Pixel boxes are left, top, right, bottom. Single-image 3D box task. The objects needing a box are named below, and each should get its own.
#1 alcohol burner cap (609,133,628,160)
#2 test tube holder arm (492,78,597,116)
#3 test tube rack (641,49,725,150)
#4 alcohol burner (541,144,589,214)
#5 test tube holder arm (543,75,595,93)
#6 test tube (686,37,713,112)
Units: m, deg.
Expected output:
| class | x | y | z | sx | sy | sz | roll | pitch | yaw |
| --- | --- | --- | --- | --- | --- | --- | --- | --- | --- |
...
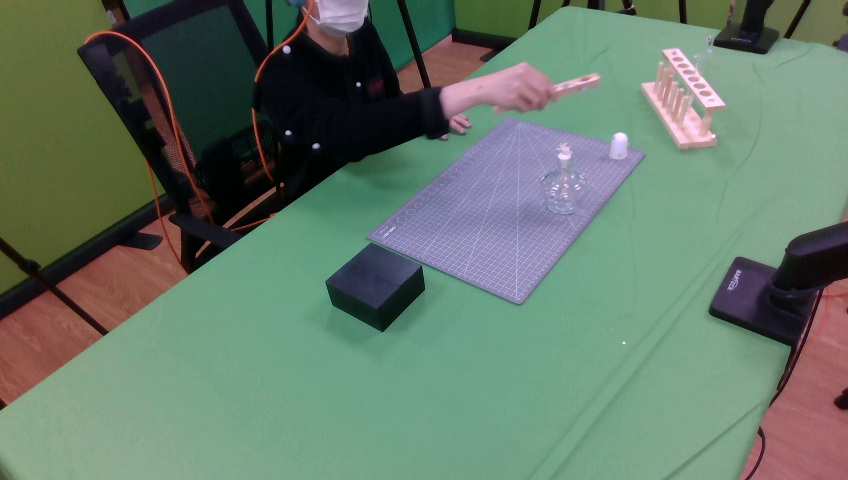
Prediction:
| class | x | y | z | sx | sy | sz | roll | pitch | yaw |
| --- | --- | --- | --- | --- | --- | --- | --- | --- | --- |
| alcohol burner cap | 0.356 | -0.172 | 1.100 | 0.034 | 0.048 | 0.033 | -5 | 40 | 5 |
| test tube holder arm | 0.199 | -0.237 | 0.998 | 0.178 | 0.015 | 0.013 | -17 | 46 | -1 |
| test tube rack | 0.495 | -0.279 | 1.175 | 0.067 | 0.085 | 0.241 | -5 | 41 | 3 |
| alcohol burner | 0.229 | -0.102 | 0.983 | 0.078 | 0.119 | 0.077 | -6 | 41 | 5 |
| test tube holder arm | 0.241 | -0.254 | 1.002 | 0.088 | 0.015 | 0.010 | -17 | 46 | 0 |
| test tube | 0.509 | -0.306 | 1.128 | 0.017 | 0.151 | 0.017 | -1 | 45 | 1 |
